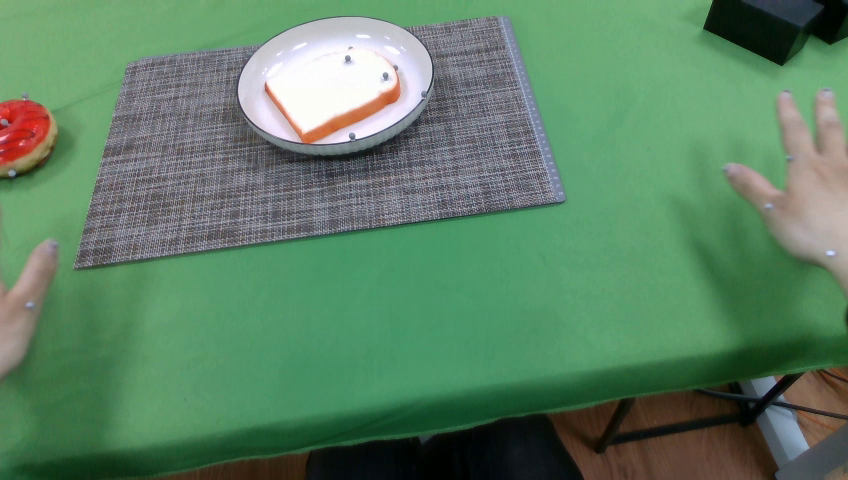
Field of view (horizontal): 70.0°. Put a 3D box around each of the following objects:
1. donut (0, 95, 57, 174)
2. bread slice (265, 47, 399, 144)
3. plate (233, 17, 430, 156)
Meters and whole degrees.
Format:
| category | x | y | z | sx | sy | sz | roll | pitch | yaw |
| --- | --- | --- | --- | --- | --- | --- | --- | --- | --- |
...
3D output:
| category | x | y | z | sx | sy | sz | roll | pitch | yaw |
| --- | --- | --- | --- | --- | --- | --- | --- | --- | --- |
| donut | -0.438 | -0.112 | 0.635 | 0.099 | 0.049 | 0.098 | -3 | 55 | 4 |
| bread slice | -0.096 | -0.165 | 0.654 | 0.131 | 0.019 | 0.104 | -29 | 58 | -15 |
| plate | -0.096 | -0.162 | 0.650 | 0.207 | 0.039 | 0.205 | -1 | 54 | 2 |
